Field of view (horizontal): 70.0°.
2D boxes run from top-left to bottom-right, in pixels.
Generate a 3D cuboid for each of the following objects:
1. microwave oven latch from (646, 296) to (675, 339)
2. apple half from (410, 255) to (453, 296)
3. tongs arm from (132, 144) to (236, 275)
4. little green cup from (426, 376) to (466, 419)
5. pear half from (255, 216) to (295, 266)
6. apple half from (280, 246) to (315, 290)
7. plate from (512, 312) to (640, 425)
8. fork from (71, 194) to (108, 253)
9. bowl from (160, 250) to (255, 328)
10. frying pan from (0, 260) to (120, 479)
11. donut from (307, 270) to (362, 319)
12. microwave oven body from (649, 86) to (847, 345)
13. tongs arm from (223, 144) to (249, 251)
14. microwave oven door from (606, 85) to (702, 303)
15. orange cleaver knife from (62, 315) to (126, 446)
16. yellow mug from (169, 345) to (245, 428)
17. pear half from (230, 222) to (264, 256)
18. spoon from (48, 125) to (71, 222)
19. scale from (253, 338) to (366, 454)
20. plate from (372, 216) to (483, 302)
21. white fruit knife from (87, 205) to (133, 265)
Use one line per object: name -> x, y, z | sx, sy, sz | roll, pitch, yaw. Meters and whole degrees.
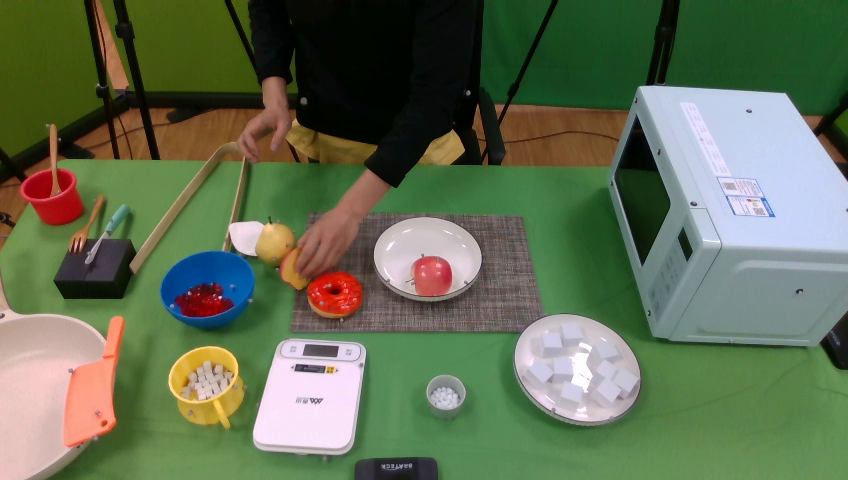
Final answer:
microwave oven latch -> 0.412, 0.134, 1.061 | 0.030, 0.029, 0.078 | 4, 45, 1
apple half -> 0.015, 0.058, 1.102 | 0.075, 0.053, 0.080 | -2, 43, -9
tongs arm -> -0.483, -0.075, 1.237 | 0.028, 0.028, 0.385 | 5, 45, 14
little green cup -> 0.033, 0.248, 0.950 | 0.061, 0.039, 0.061 | 2, 46, -2
pear half -> -0.270, 0.001, 1.117 | 0.056, 0.110, 0.076 | 25, 53, 18
apple half -> -0.235, 0.047, 1.094 | 0.032, 0.082, 0.081 | 8, 43, 31
plate -> 0.246, 0.213, 0.999 | 0.208, 0.039, 0.206 | 2, 46, -2
fork -> -0.634, -0.036, 1.158 | 0.028, 0.019, 0.206 | -7, 31, -8
bowl -> -0.362, 0.098, 1.040 | 0.151, 0.077, 0.150 | 2, 45, -2
frying pan -> -0.647, 0.164, 0.936 | 0.307, 0.103, 0.485 | -19, 58, -22
donut -> -0.157, 0.096, 1.073 | 0.099, 0.048, 0.098 | 4, 46, -4
microwave oven body -> 0.567, -0.053, 1.118 | 0.326, 0.261, 0.439 | 2, 45, -1
tongs arm -> -0.397, -0.073, 1.232 | 0.051, 0.027, 0.382 | -3, 45, 1
microwave oven door -> 0.422, -0.094, 1.140 | 0.039, 0.245, 0.353 | 2, 46, -1
orange cleaver knife -> -0.480, 0.199, 0.887 | 0.077, 0.012, 0.210 | -9, 47, -8
yellow mug -> -0.322, 0.230, 0.922 | 0.100, 0.064, 0.130 | -24, 53, -25
pear half -> -0.333, 0.000, 1.167 | 0.088, 0.031, 0.070 | 30, 52, 5
spoon -> -0.719, -0.131, 1.189 | 0.041, 0.021, 0.193 | -3, 90, -6
scale -> -0.175, 0.236, 0.951 | 0.149, 0.032, 0.199 | 4, 45, 0
plate -> 0.006, 0.038, 1.145 | 0.209, 0.038, 0.208 | 2, 46, -2
white fruit knife -> -0.584, -0.013, 1.129 | 0.016, 0.027, 0.206 | -1, 32, -4
